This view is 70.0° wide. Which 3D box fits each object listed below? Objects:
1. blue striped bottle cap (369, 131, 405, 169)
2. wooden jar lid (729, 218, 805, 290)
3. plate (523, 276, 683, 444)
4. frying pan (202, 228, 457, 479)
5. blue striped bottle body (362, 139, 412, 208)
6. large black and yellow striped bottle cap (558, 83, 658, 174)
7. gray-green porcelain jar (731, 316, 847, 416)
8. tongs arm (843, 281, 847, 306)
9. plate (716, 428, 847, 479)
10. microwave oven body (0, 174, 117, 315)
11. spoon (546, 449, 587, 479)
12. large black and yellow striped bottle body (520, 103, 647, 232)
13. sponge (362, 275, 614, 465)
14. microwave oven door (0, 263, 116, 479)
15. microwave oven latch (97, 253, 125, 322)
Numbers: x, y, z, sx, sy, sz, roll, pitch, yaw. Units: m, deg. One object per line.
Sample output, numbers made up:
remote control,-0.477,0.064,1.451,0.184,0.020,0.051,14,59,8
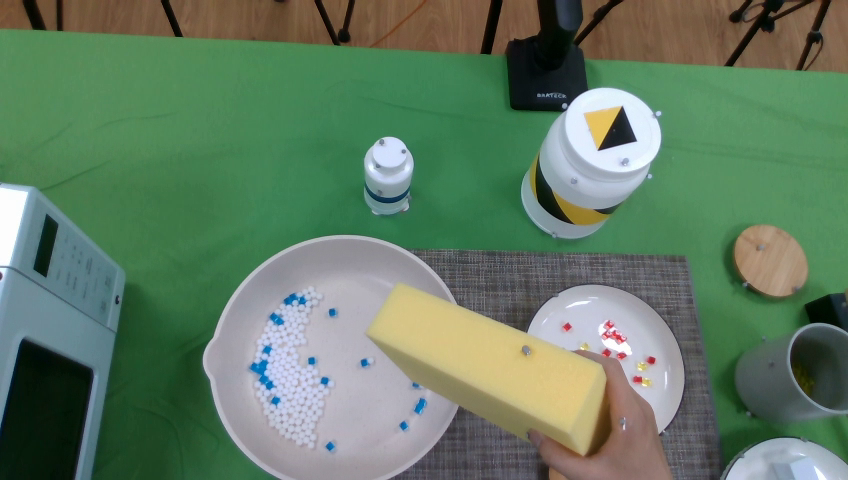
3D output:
blue striped bottle cap,-0.045,-0.111,0.738,0.044,0.021,0.044,2,66,-4
wooden jar lid,0.483,0.021,0.858,0.108,0.021,0.107,2,71,-5
plate,0.220,0.149,0.767,0.209,0.038,0.207,2,70,-5
frying pan,-0.092,0.222,0.671,0.307,0.103,0.483,0,61,-4
blue striped bottle body,-0.049,-0.093,0.787,0.063,0.121,0.062,2,69,-5
large black and yellow striped bottle cap,0.215,-0.131,0.705,0.115,0.019,0.114,2,68,-5
gray-green porcelain jar,0.454,0.159,0.746,0.106,0.127,0.105,2,69,-5
tongs arm,0.585,0.238,0.749,0.051,0.026,0.383,-3,80,-9
plate,0.444,0.334,0.728,0.208,0.039,0.206,2,69,-5
microwave oven body,-0.514,0.182,0.553,0.326,0.261,0.438,2,70,-6
spoon,0.218,0.319,0.713,0.193,0.022,0.041,40,53,8
large black and yellow striped bottle body,0.207,-0.101,0.785,0.131,0.185,0.130,2,69,-5
sponge,0.058,0.115,0.549,0.205,0.119,0.060,20,68,33
microwave oven door,-0.369,0.224,0.548,0.039,0.245,0.353,1,69,-5
microwave oven latch,-0.377,0.056,0.719,0.030,0.029,0.078,3,70,-6
